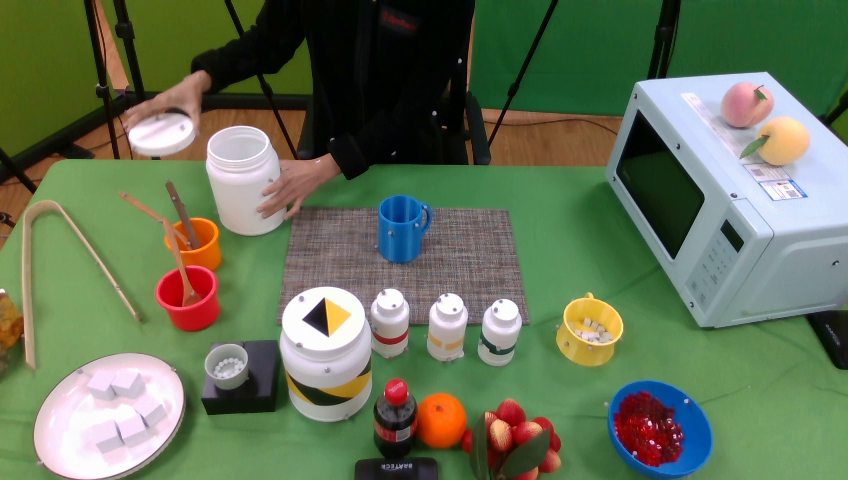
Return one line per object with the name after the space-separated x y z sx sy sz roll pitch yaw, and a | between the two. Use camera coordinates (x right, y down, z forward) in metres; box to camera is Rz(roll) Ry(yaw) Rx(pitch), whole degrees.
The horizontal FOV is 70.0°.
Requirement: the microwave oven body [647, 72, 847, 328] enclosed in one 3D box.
0.607 -0.089 1.164 0.326 0.261 0.438 -7 46 -10 | microwave oven body

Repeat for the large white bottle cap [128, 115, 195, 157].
-0.490 -0.195 1.132 0.115 0.018 0.114 2 45 -1 | large white bottle cap

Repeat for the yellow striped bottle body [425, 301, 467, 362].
0.037 0.142 0.996 0.063 0.121 0.062 3 47 -3 | yellow striped bottle body

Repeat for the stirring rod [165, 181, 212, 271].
-0.430 -0.025 1.107 0.014 0.006 0.176 -25 94 -21 | stirring rod

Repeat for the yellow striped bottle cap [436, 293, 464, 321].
0.041 0.106 0.959 0.044 0.019 0.044 0 50 1 | yellow striped bottle cap

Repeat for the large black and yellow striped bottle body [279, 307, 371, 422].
-0.145 0.173 0.907 0.131 0.185 0.130 2 46 -2 | large black and yellow striped bottle body

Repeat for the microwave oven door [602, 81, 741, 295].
0.455 -0.107 1.162 0.039 0.245 0.353 -6 47 -11 | microwave oven door

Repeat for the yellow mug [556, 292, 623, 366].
0.285 0.145 1.051 0.100 0.064 0.130 8 45 3 | yellow mug

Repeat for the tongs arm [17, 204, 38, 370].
-0.698 0.069 1.069 0.028 0.028 0.385 -20 50 -13 | tongs arm

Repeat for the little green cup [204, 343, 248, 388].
-0.294 0.190 0.909 0.061 0.039 0.061 1 48 -1 | little green cup

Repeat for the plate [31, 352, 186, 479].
-0.459 0.262 0.898 0.209 0.038 0.208 2 46 -2 | plate

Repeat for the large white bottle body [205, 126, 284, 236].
-0.344 -0.113 1.166 0.131 0.185 0.130 2 47 -2 | large white bottle body

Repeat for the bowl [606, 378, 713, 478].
0.340 0.292 0.906 0.151 0.077 0.150 2 46 -2 | bowl

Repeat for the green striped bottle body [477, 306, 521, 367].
0.124 0.151 0.995 0.063 0.120 0.063 2 46 -1 | green striped bottle body

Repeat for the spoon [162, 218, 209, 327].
-0.410 0.054 1.029 0.041 0.021 0.194 -17 94 -16 | spoon

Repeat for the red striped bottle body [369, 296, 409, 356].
-0.058 0.134 0.997 0.063 0.120 0.062 4 47 -4 | red striped bottle body

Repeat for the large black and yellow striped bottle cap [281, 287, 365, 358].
-0.141 0.112 0.847 0.115 0.019 0.114 5 45 -4 | large black and yellow striped bottle cap

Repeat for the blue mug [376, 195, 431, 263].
-0.035 -0.027 1.159 0.116 0.106 0.082 -24 53 -25 | blue mug

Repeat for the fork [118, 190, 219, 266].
-0.459 -0.020 1.092 0.208 0.018 0.028 44 44 -24 | fork

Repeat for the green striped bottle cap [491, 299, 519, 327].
0.128 0.115 0.958 0.044 0.020 0.044 1 46 -1 | green striped bottle cap

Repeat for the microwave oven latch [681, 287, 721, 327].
0.494 0.119 1.087 0.030 0.029 0.078 -6 46 -9 | microwave oven latch

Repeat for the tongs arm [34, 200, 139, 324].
-0.622 0.034 1.105 0.051 0.026 0.382 -32 56 -26 | tongs arm

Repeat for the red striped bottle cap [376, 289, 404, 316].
-0.055 0.098 0.958 0.044 0.018 0.044 0 48 1 | red striped bottle cap
